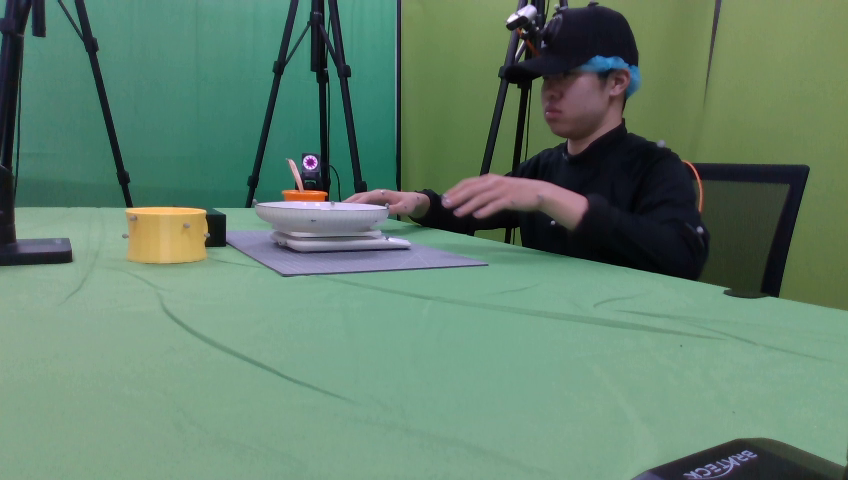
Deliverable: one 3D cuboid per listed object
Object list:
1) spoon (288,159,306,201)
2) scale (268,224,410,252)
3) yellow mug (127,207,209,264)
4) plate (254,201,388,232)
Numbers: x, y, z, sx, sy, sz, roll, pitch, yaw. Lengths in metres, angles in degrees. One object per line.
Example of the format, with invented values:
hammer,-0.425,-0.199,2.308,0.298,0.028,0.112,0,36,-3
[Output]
spoon,-0.260,-0.103,1.268,0.042,0.193,0.021,3,-39,-33
scale,-0.137,-0.006,0.980,0.202,0.031,0.148,-1,9,-30
yellow mug,-0.339,-0.010,0.827,0.100,0.064,0.131,5,7,17
plate,-0.161,-0.038,0.961,0.209,0.038,0.209,2,6,0
